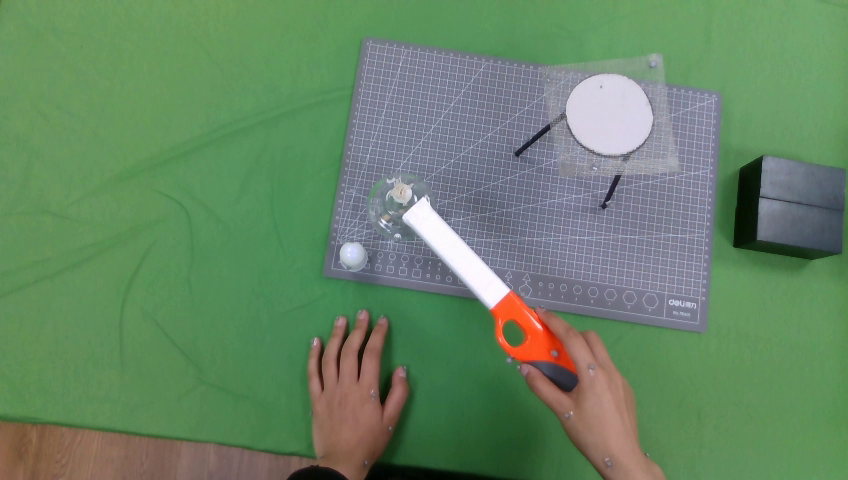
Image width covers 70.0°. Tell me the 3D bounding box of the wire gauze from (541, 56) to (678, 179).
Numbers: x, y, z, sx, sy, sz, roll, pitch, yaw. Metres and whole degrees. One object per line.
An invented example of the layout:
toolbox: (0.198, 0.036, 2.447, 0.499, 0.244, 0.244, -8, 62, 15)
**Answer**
wire gauze: (0.185, -0.121, 0.602, 0.125, 0.011, 0.121, -4, 81, -3)

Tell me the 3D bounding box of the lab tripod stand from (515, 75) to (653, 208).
lab tripod stand: (0.184, -0.116, 0.669, 0.148, 0.132, 0.147, 0, 79, -2)

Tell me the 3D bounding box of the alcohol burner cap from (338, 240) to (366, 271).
alcohol burner cap: (-0.083, 0.016, 0.680, 0.034, 0.048, 0.033, 0, 80, -2)

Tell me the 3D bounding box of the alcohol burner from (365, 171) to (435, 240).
alcohol burner: (-0.026, -0.040, 0.656, 0.078, 0.119, 0.077, 1, 82, -3)

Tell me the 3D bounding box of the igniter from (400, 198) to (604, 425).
igniter: (0.079, 0.069, 0.598, 0.057, 0.025, 0.276, -42, 87, -10)
